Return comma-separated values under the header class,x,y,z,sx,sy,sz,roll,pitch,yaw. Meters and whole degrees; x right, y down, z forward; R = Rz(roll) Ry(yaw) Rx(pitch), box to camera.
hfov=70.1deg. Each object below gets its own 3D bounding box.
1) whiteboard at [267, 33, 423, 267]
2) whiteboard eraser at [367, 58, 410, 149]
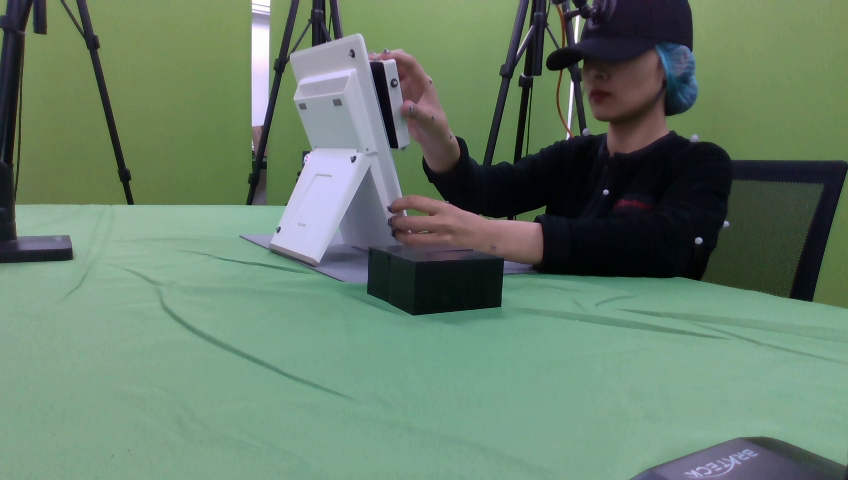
class,x,y,z,sx,sy,sz,roll,pitch,yaw
whiteboard,-0.153,-0.097,0.818,0.144,0.305,0.216,-25,20,-28
whiteboard eraser,-0.054,-0.175,0.777,0.042,0.113,0.055,-27,28,-31
